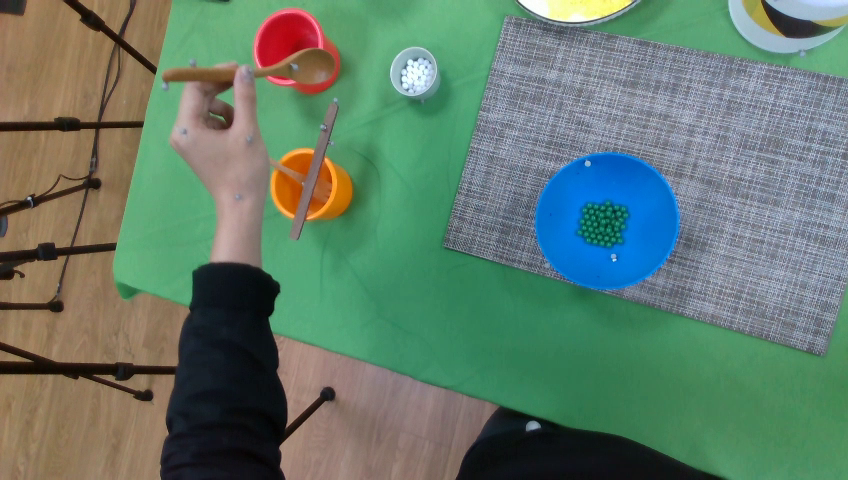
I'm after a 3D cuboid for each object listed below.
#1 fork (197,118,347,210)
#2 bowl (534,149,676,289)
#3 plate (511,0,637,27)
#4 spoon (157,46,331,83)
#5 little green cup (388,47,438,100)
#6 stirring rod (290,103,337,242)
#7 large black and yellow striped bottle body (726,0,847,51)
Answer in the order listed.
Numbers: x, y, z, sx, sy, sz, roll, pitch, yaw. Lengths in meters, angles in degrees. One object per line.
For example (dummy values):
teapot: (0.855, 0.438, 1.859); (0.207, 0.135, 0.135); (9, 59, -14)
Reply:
fork: (-0.187, -0.094, 0.763); (0.209, 0.018, 0.028); (30, 101, -30)
bowl: (0.204, -0.021, 0.691); (0.151, 0.077, 0.151); (0, 89, 15)
plate: (0.186, -0.356, 0.726); (0.208, 0.038, 0.209); (0, 89, 15)
spoon: (-0.159, -0.161, 0.567); (0.021, 0.194, 0.042); (42, 125, 15)
little green cup: (-0.011, -0.210, 0.775); (0.061, 0.039, 0.061); (0, 89, 16)
stirring rod: (-0.137, -0.083, 0.746); (0.014, 0.006, 0.176); (17, 93, 16)
large black and yellow striped bottle body: (0.385, -0.278, 0.597); (0.130, 0.184, 0.130); (0, 88, 15)
